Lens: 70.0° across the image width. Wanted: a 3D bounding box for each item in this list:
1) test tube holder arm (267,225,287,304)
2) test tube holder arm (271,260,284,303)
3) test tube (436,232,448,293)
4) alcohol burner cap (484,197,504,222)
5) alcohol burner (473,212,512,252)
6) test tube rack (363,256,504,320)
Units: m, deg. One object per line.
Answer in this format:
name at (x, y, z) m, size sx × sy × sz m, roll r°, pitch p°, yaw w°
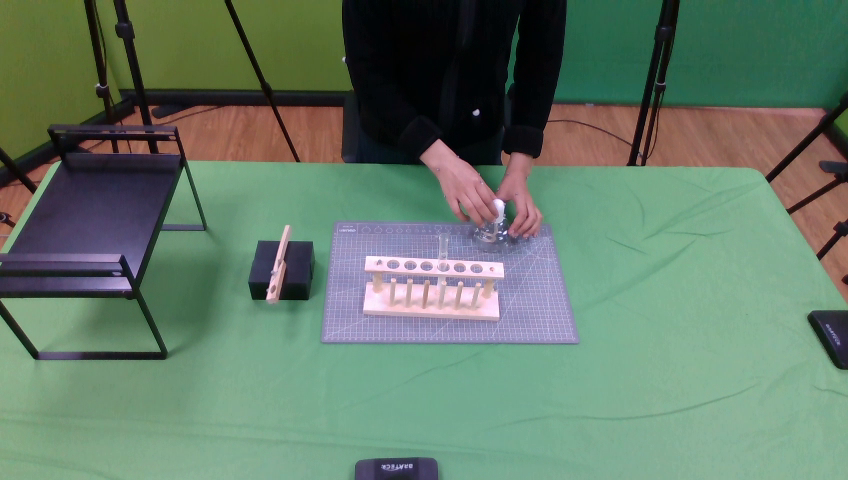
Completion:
test tube holder arm at (-0.260, 0.039, 1.077) m, size 0.013 × 0.015 × 0.177 m, roll -5°, pitch 46°, yaw 1°
test tube holder arm at (-0.252, 0.071, 1.045) m, size 0.010 × 0.015 × 0.087 m, roll -4°, pitch 46°, yaw 2°
test tube at (0.030, 0.042, 1.042) m, size 0.017 × 0.151 × 0.017 m, roll 1°, pitch 48°, yaw -1°
alcohol burner cap at (0.135, -0.061, 1.149) m, size 0.034 × 0.048 × 0.033 m, roll 8°, pitch 47°, yaw -8°
alcohol burner at (0.135, -0.034, 1.174) m, size 0.078 × 0.120 × 0.077 m, roll 1°, pitch 47°, yaw -1°
test tube rack at (0.015, 0.085, 1.069) m, size 0.242 × 0.085 × 0.066 m, roll 3°, pitch 45°, yaw -2°
